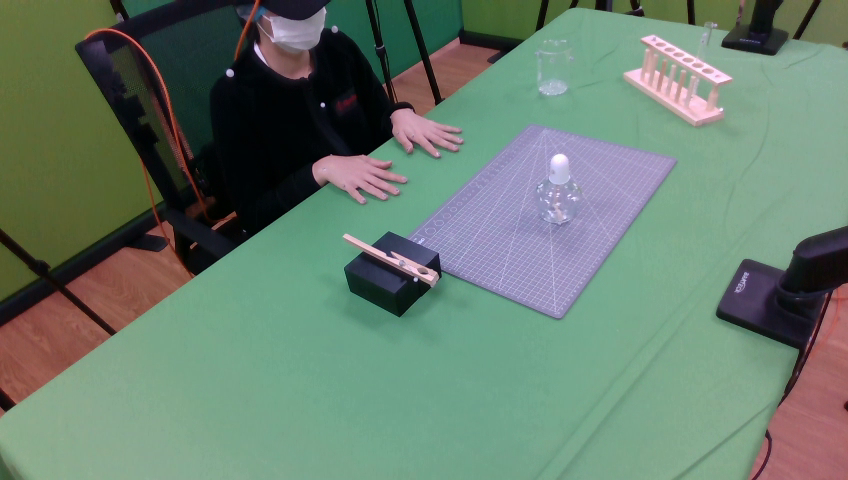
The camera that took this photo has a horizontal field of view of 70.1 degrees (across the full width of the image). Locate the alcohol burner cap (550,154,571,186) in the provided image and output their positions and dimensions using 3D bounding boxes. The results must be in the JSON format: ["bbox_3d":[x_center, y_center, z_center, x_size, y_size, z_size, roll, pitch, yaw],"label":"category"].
[{"bbox_3d":[0.212,-0.112,0.944,0.034,0.048,0.033,-6,44,7],"label":"alcohol burner cap"}]

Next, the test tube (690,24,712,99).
[{"bbox_3d":[0.534,-0.344,1.174,0.017,0.151,0.017,-2,39,2],"label":"test tube"}]

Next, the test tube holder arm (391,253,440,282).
[{"bbox_3d":[-0.015,0.039,0.858,0.087,0.015,0.010,22,56,32],"label":"test tube holder arm"}]

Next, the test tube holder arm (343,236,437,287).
[{"bbox_3d":[-0.054,0.029,0.879,0.177,0.015,0.013,22,56,32],"label":"test tube holder arm"}]

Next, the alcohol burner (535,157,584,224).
[{"bbox_3d":[0.217,-0.085,0.967,0.078,0.119,0.077,-3,41,3],"label":"alcohol burner"}]

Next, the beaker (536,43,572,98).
[{"bbox_3d":[0.280,-0.368,1.311,0.074,0.101,0.084,4,41,14],"label":"beaker"}]

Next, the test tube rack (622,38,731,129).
[{"bbox_3d":[0.506,-0.325,1.234,0.067,0.085,0.240,-18,41,-11],"label":"test tube rack"}]
